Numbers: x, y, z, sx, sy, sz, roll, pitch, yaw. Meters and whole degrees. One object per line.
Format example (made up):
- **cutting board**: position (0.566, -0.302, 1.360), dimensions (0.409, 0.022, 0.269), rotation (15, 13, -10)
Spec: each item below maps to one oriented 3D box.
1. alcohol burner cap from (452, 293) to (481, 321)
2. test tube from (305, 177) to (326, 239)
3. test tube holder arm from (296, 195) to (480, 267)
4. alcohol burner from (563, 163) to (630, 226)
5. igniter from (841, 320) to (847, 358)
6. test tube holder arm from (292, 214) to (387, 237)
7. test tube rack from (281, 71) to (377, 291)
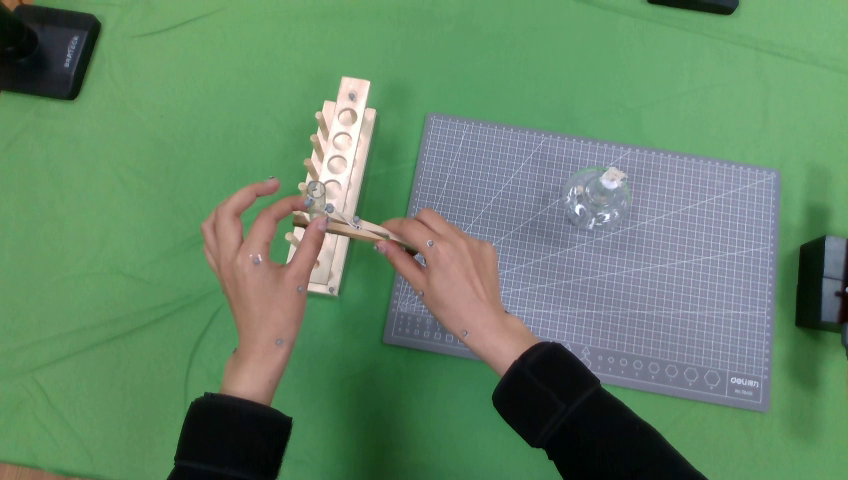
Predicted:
- **alcohol burner cap**: position (0.051, 0.075, 0.696), dimensions (0.034, 0.048, 0.033), rotation (0, 78, -2)
- **test tube**: position (-0.098, -0.026, 0.554), dimensions (0.017, 0.150, 0.017), rotation (2, 75, -8)
- **test tube holder arm**: position (-0.033, -0.008, 0.564), dimensions (0.178, 0.015, 0.013), rotation (17, 77, -2)
- **alcohol burner**: position (0.201, -0.057, 0.691), dimensions (0.078, 0.119, 0.077), rotation (0, 77, 2)
- **igniter**: position (0.490, 0.057, 0.666), dimensions (0.057, 0.025, 0.275), rotation (12, 74, 0)
- **test tube holder arm**: position (-0.078, -0.013, 0.560), dimensions (0.088, 0.015, 0.010), rotation (6, 77, -5)
- **test tube rack**: position (-0.115, -0.069, 0.708), dimensions (0.067, 0.085, 0.241), rotation (10, 77, 2)
